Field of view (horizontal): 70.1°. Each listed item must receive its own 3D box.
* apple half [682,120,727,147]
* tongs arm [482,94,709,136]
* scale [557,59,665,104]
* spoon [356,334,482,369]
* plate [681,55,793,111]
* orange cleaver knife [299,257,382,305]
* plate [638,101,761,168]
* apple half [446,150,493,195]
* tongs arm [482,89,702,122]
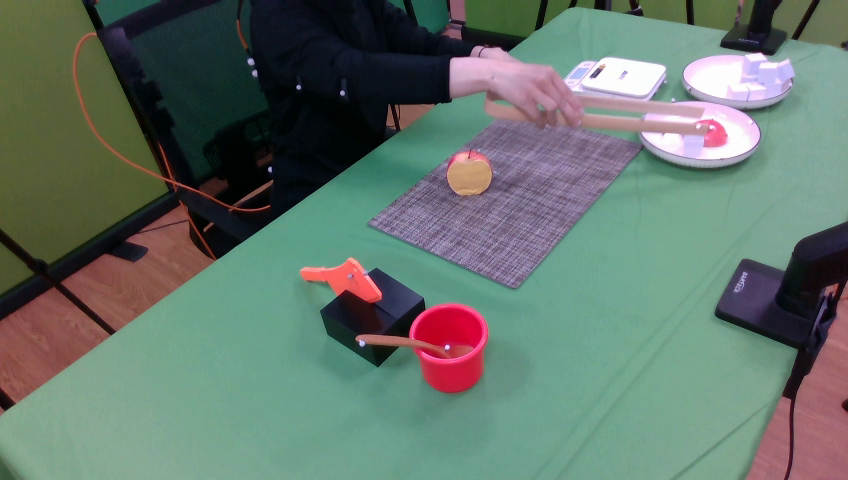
[{"bbox_3d":[0.518,-0.202,1.115,0.081,0.033,0.081,-1,40,2],"label":"apple half"},{"bbox_3d":[0.294,-0.215,1.045,0.385,0.026,0.050,3,45,-3],"label":"tongs arm"},{"bbox_3d":[0.406,-0.348,1.314,0.199,0.032,0.149,19,47,28],"label":"scale"},{"bbox_3d":[-0.001,0.130,0.731,0.195,0.021,0.041,22,27,-39],"label":"spoon"},{"bbox_3d":[0.636,-0.317,1.239,0.207,0.039,0.206,-4,40,4],"label":"plate"},{"bbox_3d":[-0.124,0.062,0.872,0.012,0.077,0.210,-38,17,-30],"label":"orange cleaver knife"},{"bbox_3d":[0.500,-0.189,1.111,0.209,0.038,0.208,-4,41,4],"label":"plate"},{"bbox_3d":[0.080,-0.124,1.065,0.081,0.075,0.053,-7,36,6],"label":"apple half"},{"bbox_3d":[0.296,-0.234,1.065,0.388,0.028,0.028,5,49,-1],"label":"tongs arm"}]
